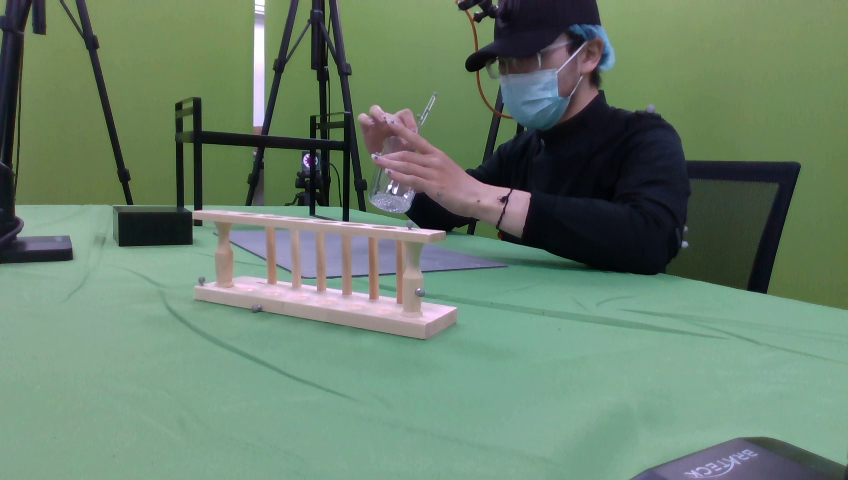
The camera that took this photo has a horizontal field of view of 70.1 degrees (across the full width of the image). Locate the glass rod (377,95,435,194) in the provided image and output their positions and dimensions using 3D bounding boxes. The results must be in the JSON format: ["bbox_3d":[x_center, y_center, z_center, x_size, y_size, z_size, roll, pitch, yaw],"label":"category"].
[{"bbox_3d":[-0.026,-0.151,0.937,0.008,0.199,0.008,23,-22,10],"label":"glass rod"}]

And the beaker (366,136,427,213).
[{"bbox_3d":[-0.042,-0.099,0.930,0.074,0.100,0.083,23,-19,-19],"label":"beaker"}]

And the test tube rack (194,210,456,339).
[{"bbox_3d":[-0.093,0.023,0.546,0.241,0.085,0.067,6,8,25],"label":"test tube rack"}]
